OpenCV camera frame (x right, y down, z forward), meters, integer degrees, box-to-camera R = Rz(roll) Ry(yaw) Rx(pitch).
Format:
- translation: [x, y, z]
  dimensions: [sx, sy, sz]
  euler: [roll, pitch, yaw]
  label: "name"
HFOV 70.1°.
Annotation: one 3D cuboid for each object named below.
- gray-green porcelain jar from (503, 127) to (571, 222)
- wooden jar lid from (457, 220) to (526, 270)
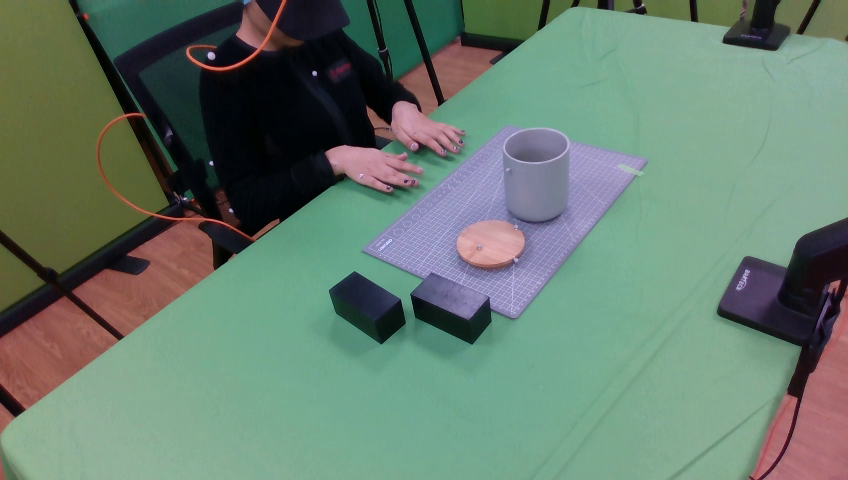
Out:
- translation: [0.184, -0.102, 0.983]
  dimensions: [0.106, 0.127, 0.105]
  euler: [-5, 40, 5]
  label: "gray-green porcelain jar"
- translation: [0.106, 0.009, 0.950]
  dimensions: [0.108, 0.021, 0.108]
  euler: [-4, 40, 4]
  label: "wooden jar lid"
